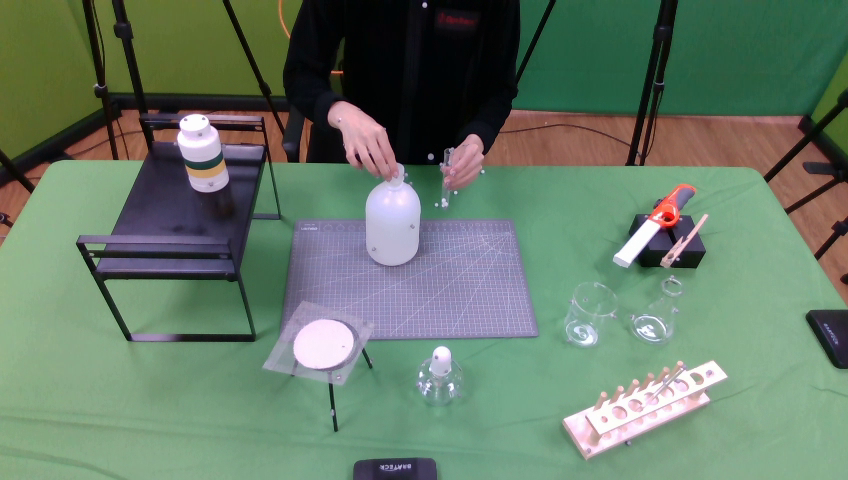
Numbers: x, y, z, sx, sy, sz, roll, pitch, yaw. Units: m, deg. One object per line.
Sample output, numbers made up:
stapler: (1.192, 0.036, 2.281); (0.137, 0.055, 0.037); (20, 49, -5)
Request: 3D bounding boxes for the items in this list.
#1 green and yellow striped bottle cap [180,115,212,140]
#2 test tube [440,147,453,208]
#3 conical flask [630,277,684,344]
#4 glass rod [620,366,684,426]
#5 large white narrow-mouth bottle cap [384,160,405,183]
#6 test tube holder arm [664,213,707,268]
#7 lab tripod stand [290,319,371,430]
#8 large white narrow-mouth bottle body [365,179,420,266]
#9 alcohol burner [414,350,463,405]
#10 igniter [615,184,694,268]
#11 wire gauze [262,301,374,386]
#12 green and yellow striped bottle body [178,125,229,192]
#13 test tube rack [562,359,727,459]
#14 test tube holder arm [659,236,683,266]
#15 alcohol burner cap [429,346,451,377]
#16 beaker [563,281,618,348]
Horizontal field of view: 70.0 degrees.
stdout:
green and yellow striped bottle cap: (-0.358, -0.177, 0.951); (0.045, 0.020, 0.045); (2, 45, -2)
test tube: (0.040, -0.109, 1.096); (0.017, 0.151, 0.017); (1, 53, -1)
conical flask: (0.408, 0.117, 1.045); (0.075, 0.122, 0.075); (2, 46, -2)
glass rod: (0.323, 0.227, 0.866); (0.008, 0.200, 0.008); (5, 51, -7)
large white narrow-mouth bottle cap: (-0.051, -0.119, 1.048); (0.038, 0.024, 0.037); (3, 45, -3)
test tube holder arm: (0.507, -0.001, 1.171); (0.013, 0.015, 0.178); (34, 54, 26)
lab tripod stand: (-0.146, 0.193, 0.923); (0.148, 0.132, 0.147); (1, 47, -1)
large white narrow-mouth bottle body: (-0.058, -0.048, 1.117); (0.102, 0.195, 0.101); (3, 45, -2)
alcohol burner: (0.023, 0.205, 0.939); (0.078, 0.120, 0.077); (1, 48, -1)
igniter: (0.459, -0.035, 1.197); (0.057, 0.025, 0.276); (32, 55, 27)
wire gauze: (-0.150, 0.148, 0.873); (0.121, 0.011, 0.124); (14, 46, 12)
green and yellow striped bottle body: (-0.361, -0.142, 0.989); (0.063, 0.120, 0.063); (2, 46, -2)
test tube rack: (0.341, 0.247, 0.940); (0.243, 0.085, 0.066); (-16, 49, -18)
test tube holder arm: (0.472, 0.020, 1.149); (0.010, 0.015, 0.088); (35, 54, 27)
alcohol burner cap: (0.026, 0.180, 0.912); (0.034, 0.048, 0.033); (1, 47, -1)
beaker: (0.283, 0.129, 1.041); (0.074, 0.101, 0.083); (11, 46, 7)
